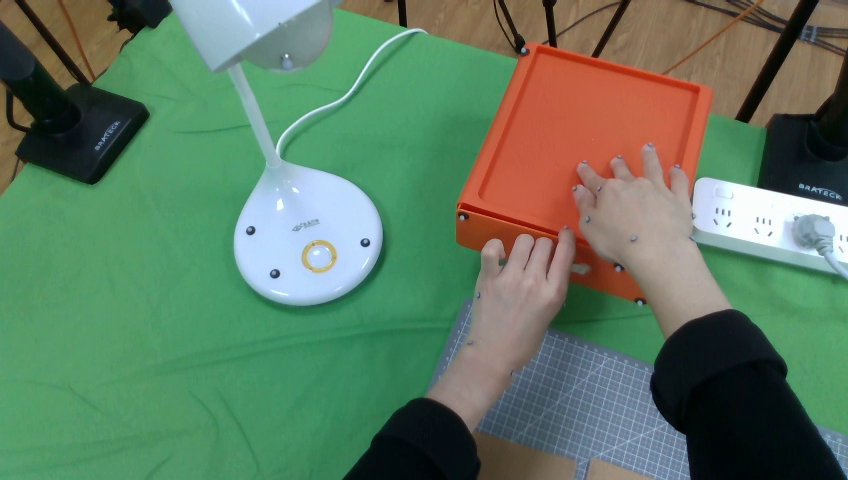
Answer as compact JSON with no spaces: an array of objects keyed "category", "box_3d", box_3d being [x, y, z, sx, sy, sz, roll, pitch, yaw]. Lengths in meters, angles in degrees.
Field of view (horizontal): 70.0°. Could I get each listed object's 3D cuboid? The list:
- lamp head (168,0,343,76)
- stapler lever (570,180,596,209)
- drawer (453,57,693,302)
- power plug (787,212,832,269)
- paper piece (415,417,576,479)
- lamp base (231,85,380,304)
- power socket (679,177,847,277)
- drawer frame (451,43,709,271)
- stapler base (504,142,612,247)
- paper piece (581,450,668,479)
[{"category":"lamp head","box_3d":[-0.102,-0.167,0.328,0.112,0.112,0.123,-38,106,-17]},{"category":"stapler lever","box_3d":[0.124,-0.058,0.591,0.027,0.040,0.117,-41,65,2]},{"category":"drawer","box_3d":[0.154,-0.066,0.602,0.194,0.074,0.210,18,64,11]},{"category":"power plug","box_3d":[0.384,0.003,0.612,0.035,0.053,0.072,24,65,13]},{"category":"paper piece","box_3d":[0.053,0.239,0.533,0.135,0.009,0.137,14,65,12]},{"category":"lamp base","box_3d":[-0.137,-0.051,0.595,0.160,0.182,0.177,-31,63,-14]},{"category":"power socket","box_3d":[0.383,-0.013,0.646,0.226,0.033,0.072,14,64,8]},{"category":"drawer frame","box_3d":[0.157,-0.075,0.610,0.201,0.083,0.212,18,65,11]},{"category":"stapler base","box_3d":[0.134,-0.050,0.614,0.041,0.024,0.129,-41,66,2]},{"category":"paper piece","box_3d":[0.189,0.268,0.514,0.135,0.004,0.135,19,64,12]}]
